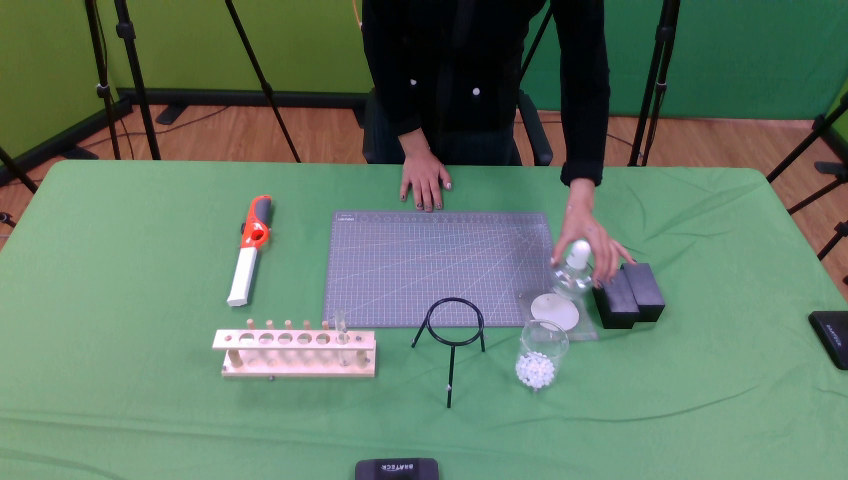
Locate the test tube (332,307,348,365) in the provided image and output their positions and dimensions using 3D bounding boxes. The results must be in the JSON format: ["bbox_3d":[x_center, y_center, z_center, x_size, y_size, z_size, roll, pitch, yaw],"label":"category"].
[{"bbox_3d":[-0.128,0.151,0.931,0.017,0.151,0.017,1,50,-2],"label":"test tube"}]

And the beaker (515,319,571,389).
[{"bbox_3d":[0.186,0.186,0.980,0.074,0.101,0.083,-23,51,-24],"label":"beaker"}]

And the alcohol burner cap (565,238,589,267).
[{"bbox_3d":[0.255,0.018,1.002,0.034,0.048,0.033,5,42,-4],"label":"alcohol burner cap"}]

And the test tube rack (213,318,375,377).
[{"bbox_3d":[-0.202,0.169,0.977,0.242,0.085,0.066,1,46,-3],"label":"test tube rack"}]

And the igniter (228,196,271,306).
[{"bbox_3d":[-0.332,0.011,1.160,0.057,0.025,0.274,-7,46,5],"label":"igniter"}]

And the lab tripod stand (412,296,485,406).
[{"bbox_3d":[0.045,0.168,0.963,0.148,0.132,0.147,3,47,-3],"label":"lab tripod stand"}]

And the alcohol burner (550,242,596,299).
[{"bbox_3d":[0.255,0.044,1.027,0.078,0.120,0.077,0,47,0],"label":"alcohol burner"}]

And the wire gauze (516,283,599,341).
[{"bbox_3d":[0.240,0.131,1.094,0.125,0.011,0.120,-3,48,-8],"label":"wire gauze"}]
